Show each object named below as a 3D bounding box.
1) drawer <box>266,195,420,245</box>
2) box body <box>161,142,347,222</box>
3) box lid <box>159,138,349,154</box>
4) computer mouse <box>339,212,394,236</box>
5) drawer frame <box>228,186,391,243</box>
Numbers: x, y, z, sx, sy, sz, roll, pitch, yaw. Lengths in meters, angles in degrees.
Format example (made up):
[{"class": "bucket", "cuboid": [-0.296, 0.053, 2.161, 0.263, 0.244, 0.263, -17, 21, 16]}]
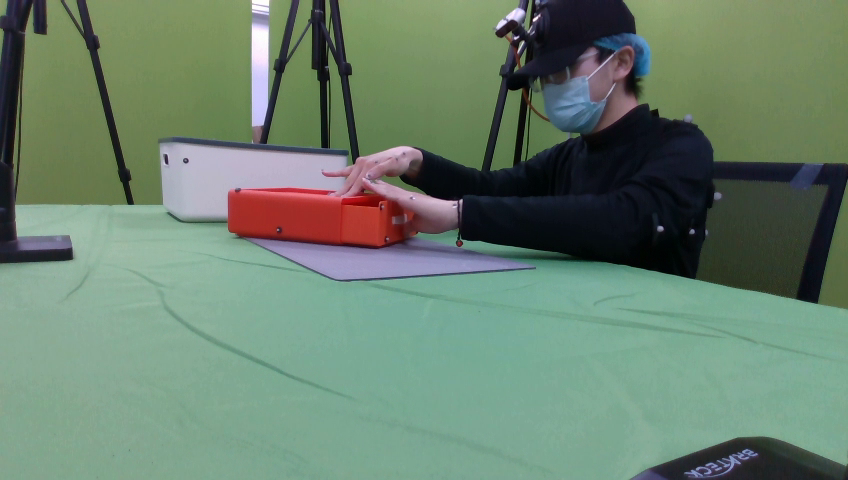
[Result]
[{"class": "drawer", "cuboid": [-0.134, -0.041, 1.041, 0.211, 0.073, 0.195, 3, 8, 18]}, {"class": "box body", "cuboid": [-0.380, -0.132, 1.352, 0.366, 0.160, 0.253, -2, 9, -30]}, {"class": "box lid", "cuboid": [-0.376, -0.206, 1.344, 0.373, 0.015, 0.262, -1, 8, -30]}, {"class": "computer mouse", "cuboid": [-0.097, -0.027, 1.033, 0.062, 0.041, 0.117, 0, 0, 16]}, {"class": "drawer frame", "cuboid": [-0.193, -0.049, 1.060, 0.213, 0.082, 0.202, 4, 8, 18]}]
